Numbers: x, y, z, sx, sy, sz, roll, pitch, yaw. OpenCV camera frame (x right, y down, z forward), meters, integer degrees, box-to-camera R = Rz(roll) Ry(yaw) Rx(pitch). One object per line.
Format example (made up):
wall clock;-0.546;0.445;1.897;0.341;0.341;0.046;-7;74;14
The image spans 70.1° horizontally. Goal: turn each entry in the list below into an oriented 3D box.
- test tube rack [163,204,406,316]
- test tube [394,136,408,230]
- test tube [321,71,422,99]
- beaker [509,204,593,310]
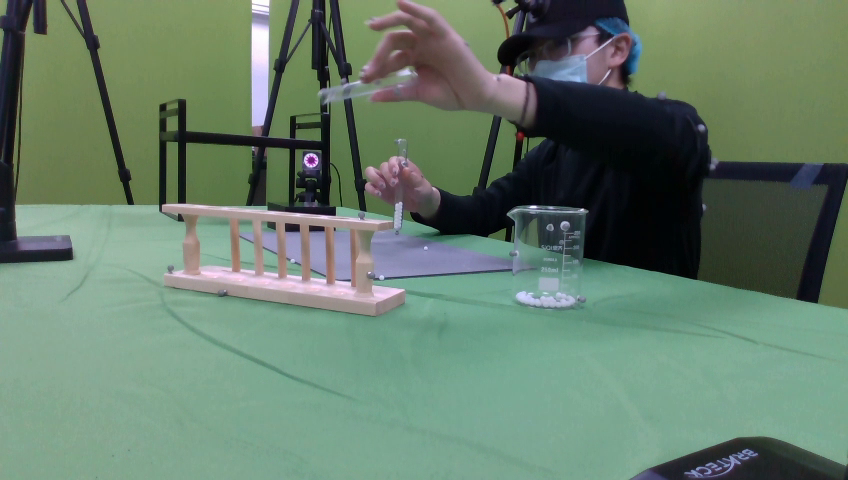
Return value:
test tube rack;-0.141;0.013;0.601;0.241;0.085;0.067;5;8;21
test tube;-0.037;-0.091;0.971;0.017;0.150;0.017;4;10;0
test tube;-0.061;-0.173;0.675;0.150;0.017;0.017;4;7;39
beaker;0.125;0.016;0.613;0.084;0.100;0.074;1;7;-5
